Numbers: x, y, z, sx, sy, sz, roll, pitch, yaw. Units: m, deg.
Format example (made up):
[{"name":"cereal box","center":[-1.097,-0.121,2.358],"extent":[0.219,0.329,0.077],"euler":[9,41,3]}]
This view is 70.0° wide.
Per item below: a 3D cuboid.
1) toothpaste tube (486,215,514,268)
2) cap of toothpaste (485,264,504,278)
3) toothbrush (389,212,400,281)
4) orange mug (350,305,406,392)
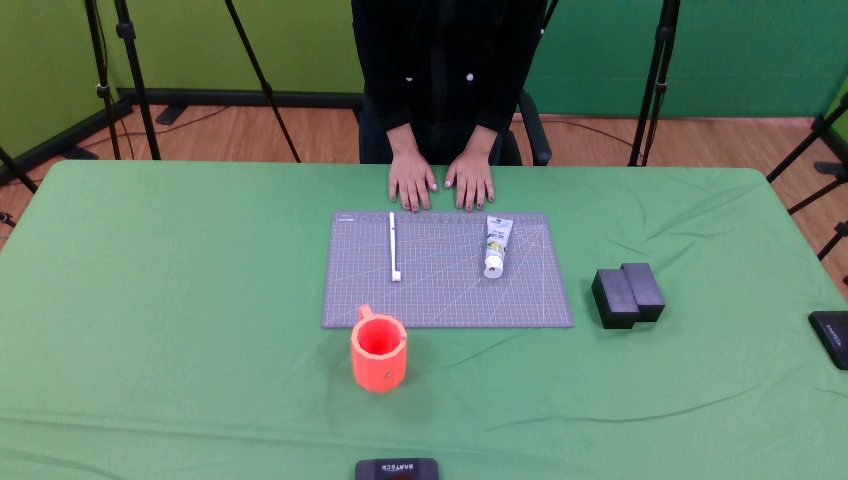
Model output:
[{"name":"toothpaste tube","center":[0.147,0.005,1.197],"extent":[0.055,0.034,0.164],"euler":[14,43,0]},{"name":"cap of toothpaste","center":[0.132,0.057,1.137],"extent":[0.037,0.037,0.011],"euler":[1,48,-2]},{"name":"toothbrush","center":[-0.059,0.010,1.186],"extent":[0.017,0.014,0.180],"euler":[1,46,-7]},{"name":"orange mug","center":[-0.080,0.168,0.978],"extent":[0.083,0.101,0.125],"euler":[-16,54,-18]}]
